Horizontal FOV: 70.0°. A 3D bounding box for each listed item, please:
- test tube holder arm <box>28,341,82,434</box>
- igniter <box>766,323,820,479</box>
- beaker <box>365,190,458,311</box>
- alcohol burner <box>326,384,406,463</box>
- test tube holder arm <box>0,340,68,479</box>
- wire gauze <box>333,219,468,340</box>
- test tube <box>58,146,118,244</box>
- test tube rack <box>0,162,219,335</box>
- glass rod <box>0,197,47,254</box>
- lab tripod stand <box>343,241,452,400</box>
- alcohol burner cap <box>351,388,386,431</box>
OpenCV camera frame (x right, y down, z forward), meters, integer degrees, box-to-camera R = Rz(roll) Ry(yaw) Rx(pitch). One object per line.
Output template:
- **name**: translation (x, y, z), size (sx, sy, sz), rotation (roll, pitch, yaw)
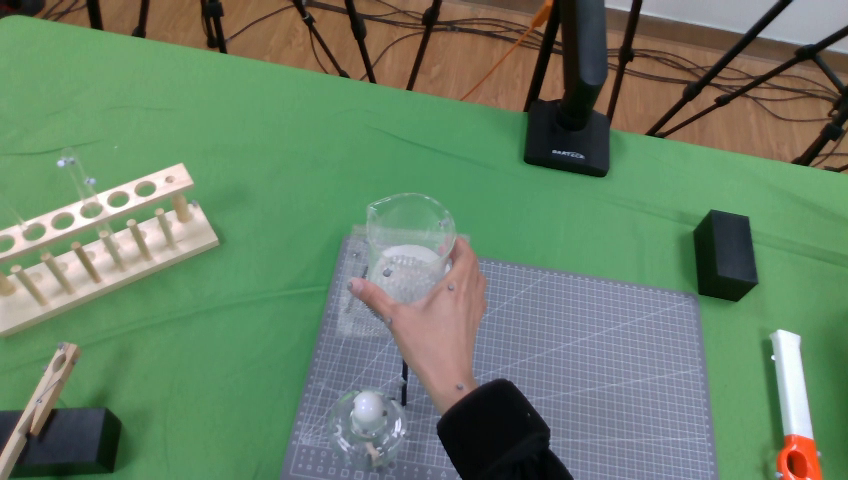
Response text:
- **test tube holder arm**: translation (-0.350, 0.138, 0.571), size (0.010, 0.015, 0.087), rotation (13, 56, 2)
- **igniter**: translation (0.404, 0.219, 0.658), size (0.057, 0.025, 0.274), rotation (18, 58, -8)
- **beaker**: translation (-0.018, 0.013, 0.538), size (0.083, 0.101, 0.074), rotation (32, 60, 13)
- **alcohol burner**: translation (-0.055, 0.170, 0.582), size (0.078, 0.120, 0.077), rotation (4, 56, -6)
- **test tube holder arm**: translation (-0.364, 0.173, 0.546), size (0.013, 0.015, 0.177), rotation (12, 56, 1)
- **wire gauze**: translation (-0.019, 0.037, 0.580), size (0.121, 0.011, 0.124), rotation (5, 61, -2)
- **test tube**: translation (-0.353, -0.041, 0.642), size (0.017, 0.151, 0.017), rotation (4, 53, -5)
- **test tube rack**: translation (-0.363, 0.006, 0.669), size (0.242, 0.086, 0.066), rotation (-26, 64, -21)
- **glass rod**: translation (-0.412, -0.024, 0.603), size (0.008, 0.201, 0.008), rotation (0, 53, 0)
- **lab tripod stand**: translation (-0.021, 0.076, 0.633), size (0.148, 0.132, 0.147), rotation (4, 58, -6)
- **alcohol burner cap**: translation (-0.051, 0.152, 0.550), size (0.034, 0.048, 0.033), rotation (1, 61, -1)
